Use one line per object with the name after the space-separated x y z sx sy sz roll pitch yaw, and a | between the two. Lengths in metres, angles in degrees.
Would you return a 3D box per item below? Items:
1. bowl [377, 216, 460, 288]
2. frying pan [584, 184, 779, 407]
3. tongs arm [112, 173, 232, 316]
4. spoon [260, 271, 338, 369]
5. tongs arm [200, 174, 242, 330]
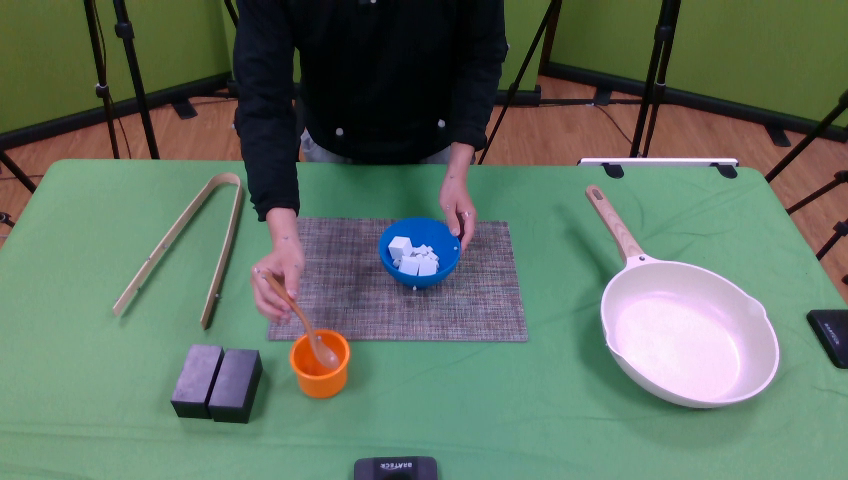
-0.012 0.035 1.118 0.151 0.077 0.150 2 46 -2 | bowl
0.412 0.079 1.097 0.307 0.103 0.484 -10 56 -15 | frying pan
-0.467 -0.005 1.157 0.051 0.026 0.382 11 45 4 | tongs arm
-0.179 0.117 0.882 0.021 0.194 0.041 -21 27 12 | spoon
-0.387 0.008 1.159 0.028 0.028 0.385 -1 46 -3 | tongs arm
